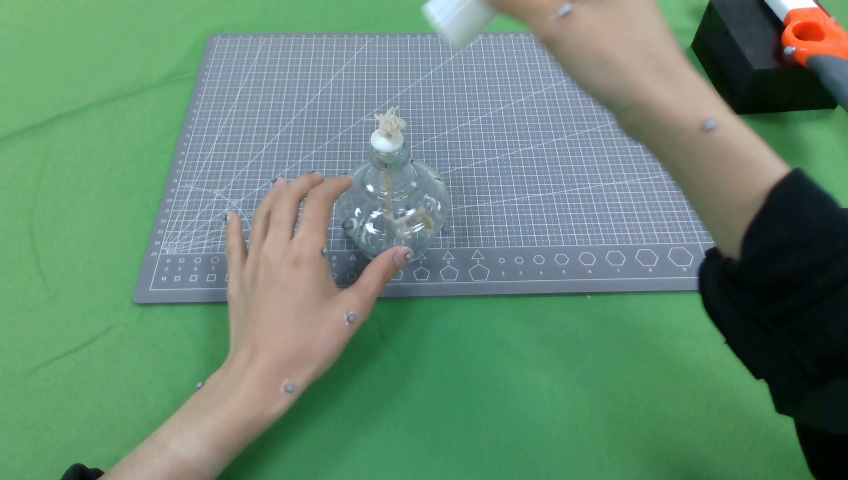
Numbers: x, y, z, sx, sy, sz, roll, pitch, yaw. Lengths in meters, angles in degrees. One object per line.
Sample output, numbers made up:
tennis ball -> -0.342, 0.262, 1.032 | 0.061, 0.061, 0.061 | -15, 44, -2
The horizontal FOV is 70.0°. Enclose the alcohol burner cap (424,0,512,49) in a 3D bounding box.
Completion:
alcohol burner cap -> 0.028, -0.130, 0.322 | 0.048, 0.034, 0.033 | -35, 52, 23

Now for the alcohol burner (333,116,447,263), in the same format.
alcohol burner -> -0.023, -0.037, 0.400 | 0.078, 0.120, 0.077 | 0, 56, 0

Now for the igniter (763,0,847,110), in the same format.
igniter -> 0.321, -0.186, 0.513 | 0.057, 0.025, 0.273 | -6, 52, -2
